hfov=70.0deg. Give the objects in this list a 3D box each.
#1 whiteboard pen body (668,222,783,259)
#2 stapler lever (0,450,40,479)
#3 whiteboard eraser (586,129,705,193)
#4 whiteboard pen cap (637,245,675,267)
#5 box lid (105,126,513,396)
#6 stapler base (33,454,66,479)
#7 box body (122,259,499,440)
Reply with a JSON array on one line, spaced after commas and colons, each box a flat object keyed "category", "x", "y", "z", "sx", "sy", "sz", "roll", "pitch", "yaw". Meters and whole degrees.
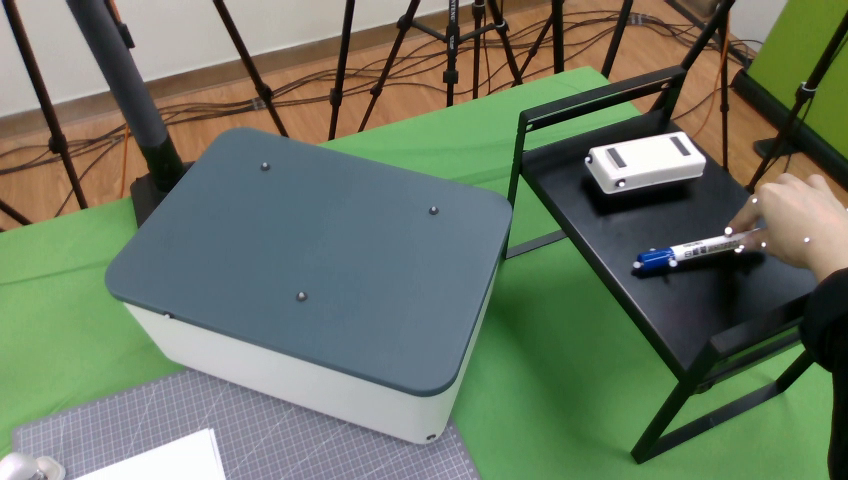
[{"category": "whiteboard pen body", "x": 0.281, "y": 0.003, "z": 0.588, "sx": 0.141, "sy": 0.017, "sz": 0.017, "roll": -12, "pitch": 52, "yaw": -6}, {"category": "stapler lever", "x": -0.424, "y": 0.257, "z": 0.580, "sx": 0.026, "sy": 0.040, "sz": 0.117, "roll": 24, "pitch": 58, "yaw": 23}, {"category": "whiteboard eraser", "x": 0.236, "y": -0.083, "z": 0.648, "sx": 0.113, "sy": 0.042, "sz": 0.055, "roll": -11, "pitch": 53, "yaw": -10}, {"category": "whiteboard pen cap", "x": 0.224, "y": 0.016, "z": 0.584, "sx": 0.033, "sy": 0.018, "sz": 0.018, "roll": -11, "pitch": 52, "yaw": -6}, {"category": "box lid", "x": -0.111, "y": -0.001, "z": 0.637, "sx": 0.370, "sy": 0.015, "sz": 0.261, "roll": 16, "pitch": 52, "yaw": 11}, {"category": "stapler base", "x": -0.422, "y": 0.271, "z": 0.600, "sx": 0.041, "sy": 0.025, "sz": 0.130, "roll": 24, "pitch": 58, "yaw": 23}, {"category": "box body", "x": -0.109, "y": 0.046, "z": 0.694, "sx": 0.363, "sy": 0.162, "sz": 0.252, "roll": 15, "pitch": 52, "yaw": 12}]
